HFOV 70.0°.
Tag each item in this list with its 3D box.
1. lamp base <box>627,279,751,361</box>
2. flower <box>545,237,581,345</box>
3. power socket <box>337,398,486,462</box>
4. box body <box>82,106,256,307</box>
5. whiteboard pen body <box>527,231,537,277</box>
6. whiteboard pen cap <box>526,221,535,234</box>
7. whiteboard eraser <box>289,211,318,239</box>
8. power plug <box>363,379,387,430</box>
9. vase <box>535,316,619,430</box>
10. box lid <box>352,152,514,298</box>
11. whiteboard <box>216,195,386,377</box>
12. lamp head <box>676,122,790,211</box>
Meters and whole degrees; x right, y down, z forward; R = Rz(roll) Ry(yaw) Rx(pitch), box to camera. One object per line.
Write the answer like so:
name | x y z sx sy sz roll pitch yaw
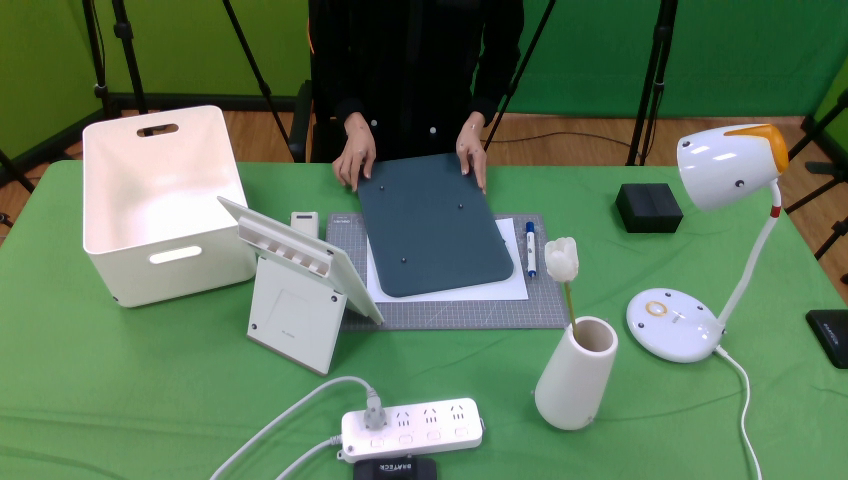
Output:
lamp base | 0.460 0.100 1.027 0.178 0.181 0.160 27 51 17
flower | 0.213 0.137 0.846 0.038 0.364 0.044 21 55 39
power socket | -0.018 0.285 0.914 0.227 0.033 0.071 -4 46 -8
box body | -0.471 -0.071 1.131 0.254 0.161 0.361 -14 49 -17
whiteboard pen body | 0.211 0.018 1.191 0.017 0.017 0.140 6 44 2
whiteboard pen cap | 0.216 -0.022 1.234 0.018 0.018 0.033 6 44 1
whiteboard eraser | -0.234 -0.007 1.172 0.055 0.042 0.112 -3 46 -5
power plug | -0.071 0.252 0.911 0.035 0.053 0.072 3 40 0
vase | 0.229 0.200 0.901 0.098 0.201 0.097 3 46 -3
box lid | 0.009 -0.044 1.235 0.264 0.015 0.369 -9 50 -11
whiteboard | -0.212 0.094 0.938 0.216 0.307 0.143 24 70 17
lamp head | 0.423 -0.104 0.819 0.122 0.113 0.112 -13 33 40
